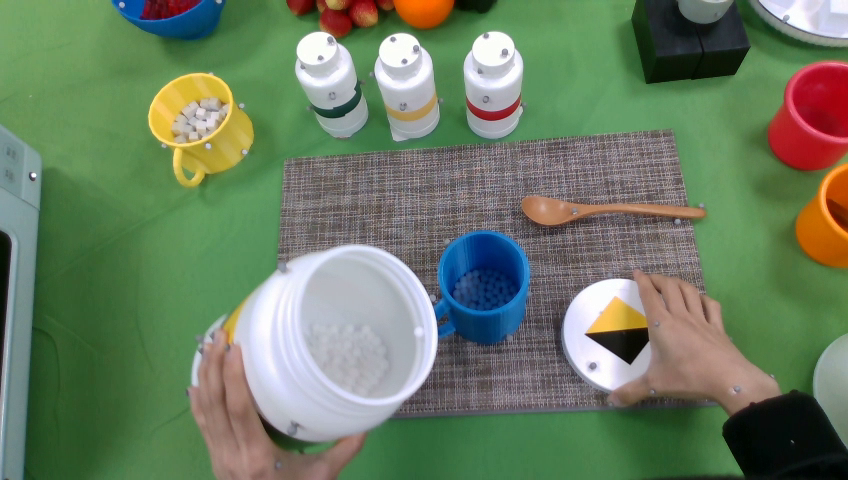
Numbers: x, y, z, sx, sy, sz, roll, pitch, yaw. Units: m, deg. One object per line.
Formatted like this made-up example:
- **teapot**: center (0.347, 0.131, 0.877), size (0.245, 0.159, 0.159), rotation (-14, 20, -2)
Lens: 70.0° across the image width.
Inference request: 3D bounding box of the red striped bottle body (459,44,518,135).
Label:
- **red striped bottle body**: center (0.070, -0.173, 0.663), size (0.063, 0.120, 0.062), rotation (-2, 67, 6)

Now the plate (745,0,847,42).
- **plate**: center (0.474, -0.317, 0.721), size (0.209, 0.038, 0.207), rotation (-2, 69, 5)

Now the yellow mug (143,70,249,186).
- **yellow mug**: center (-0.269, -0.126, 0.709), size (0.100, 0.064, 0.130), rotation (5, 70, 8)

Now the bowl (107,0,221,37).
- **bowl**: center (-0.321, -0.319, 0.784), size (0.151, 0.077, 0.150), rotation (-2, 68, 5)

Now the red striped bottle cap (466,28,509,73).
- **red striped bottle cap**: center (0.065, -0.193, 0.614), size (0.044, 0.018, 0.044), rotation (-1, 67, 2)

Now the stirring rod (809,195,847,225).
- **stirring rod**: center (0.405, -0.009, 0.554), size (0.014, 0.006, 0.175), rotation (-1, 25, 3)

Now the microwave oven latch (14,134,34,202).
- **microwave oven latch**: center (-0.478, -0.082, 0.708), size (0.030, 0.030, 0.078), rotation (-11, 69, 1)

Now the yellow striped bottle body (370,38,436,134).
- **yellow striped bottle body**: center (-0.023, -0.176, 0.673), size (0.063, 0.121, 0.062), rotation (-2, 67, 6)

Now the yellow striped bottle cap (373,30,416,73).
- **yellow striped bottle cap**: center (-0.030, -0.195, 0.625), size (0.044, 0.019, 0.044), rotation (-1, 65, 2)

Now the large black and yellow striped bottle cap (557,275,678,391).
- **large black and yellow striped bottle cap**: center (0.190, 0.090, 0.599), size (0.115, 0.019, 0.114), rotation (-2, 67, 5)

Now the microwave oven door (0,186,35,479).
- **microwave oven door**: center (-0.448, 0.079, 0.533), size (0.039, 0.245, 0.353), rotation (-13, 68, 2)

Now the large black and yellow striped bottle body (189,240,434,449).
- **large black and yellow striped bottle body**: center (-0.088, 0.083, 0.461), size (0.132, 0.184, 0.129), rotation (17, 59, -31)

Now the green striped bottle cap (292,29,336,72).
- **green striped bottle cap**: center (-0.116, -0.199, 0.637), size (0.044, 0.020, 0.044), rotation (-2, 66, 5)

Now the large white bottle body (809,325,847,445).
- **large white bottle body**: center (0.414, 0.108, 0.480), size (0.130, 0.186, 0.129), rotation (-2, 68, 6)

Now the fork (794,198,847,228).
- **fork**: center (0.434, -0.009, 0.543), size (0.028, 0.019, 0.205), rotation (-33, 24, -13)

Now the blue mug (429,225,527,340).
- **blue mug**: center (0.042, 0.053, 0.581), size (0.116, 0.106, 0.081), rotation (-36, 68, -8)

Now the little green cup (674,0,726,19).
- **little green cup**: center (0.307, -0.277, 0.668), size (0.061, 0.039, 0.061), rotation (-2, 67, 4)

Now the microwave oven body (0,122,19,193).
- **microwave oven body**: center (-0.598, 0.074, 0.556), size (0.326, 0.262, 0.438), rotation (-12, 68, 1)

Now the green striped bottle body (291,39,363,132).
- **green striped bottle body**: center (-0.110, -0.180, 0.684), size (0.063, 0.120, 0.062), rotation (-2, 68, 5)

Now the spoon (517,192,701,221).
- **spoon**: center (0.196, -0.036, 0.644), size (0.193, 0.022, 0.041), rotation (0, 46, 6)
